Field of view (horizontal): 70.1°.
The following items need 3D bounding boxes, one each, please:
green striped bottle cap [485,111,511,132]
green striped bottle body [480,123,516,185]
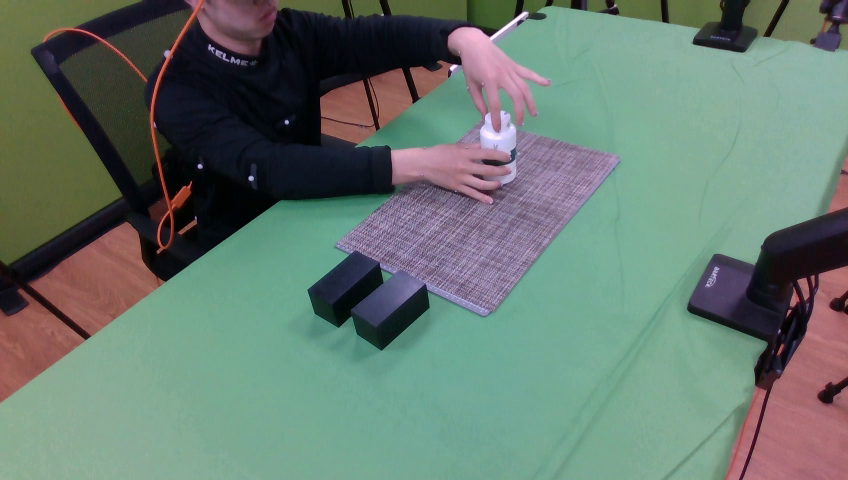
[{"bbox_3d":[0.125,-0.200,1.024,0.044,0.020,0.044,-4,41,4],"label":"green striped bottle cap"},{"bbox_3d":[0.130,-0.162,1.057,0.063,0.120,0.063,-4,40,4],"label":"green striped bottle body"}]
